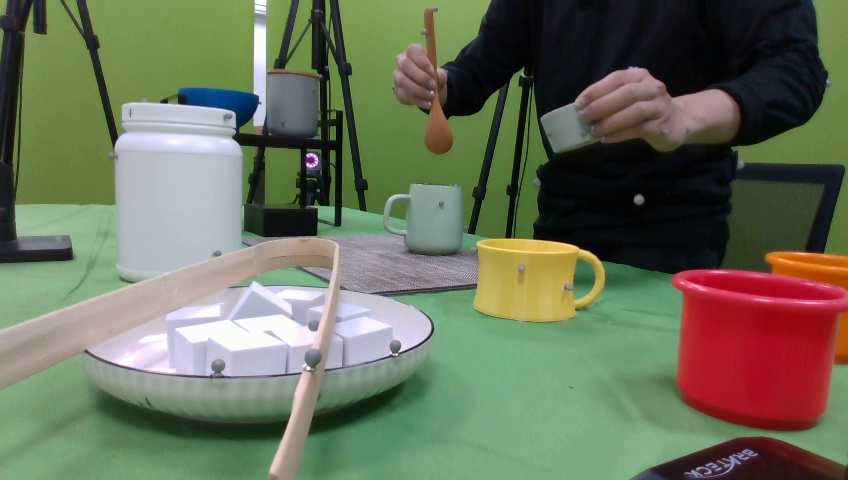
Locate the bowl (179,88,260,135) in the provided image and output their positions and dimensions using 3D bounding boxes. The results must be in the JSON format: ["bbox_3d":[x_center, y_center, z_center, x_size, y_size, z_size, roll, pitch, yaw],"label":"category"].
[{"bbox_3d":[-0.400,-0.248,1.188,0.151,0.077,0.151,2,6,0],"label":"bowl"}]

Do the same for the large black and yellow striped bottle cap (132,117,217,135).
[{"bbox_3d":[-0.359,-0.164,0.875,0.115,0.019,0.115,2,6,0],"label":"large black and yellow striped bottle cap"}]

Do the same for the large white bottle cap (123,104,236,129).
[{"bbox_3d":[-0.266,-0.135,0.663,0.115,0.018,0.115,3,7,0],"label":"large white bottle cap"}]

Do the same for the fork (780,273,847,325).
[{"bbox_3d":[0.332,0.018,0.443,0.028,0.018,0.207,-4,-35,-16],"label":"fork"}]

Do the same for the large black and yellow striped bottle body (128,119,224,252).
[{"bbox_3d":[-0.361,-0.081,0.887,0.131,0.184,0.130,2,8,0],"label":"large black and yellow striped bottle body"}]

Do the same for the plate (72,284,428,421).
[{"bbox_3d":[-0.102,0.067,0.381,0.208,0.039,0.207,3,7,0],"label":"plate"}]

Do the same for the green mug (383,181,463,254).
[{"bbox_3d":[-0.001,-0.036,0.922,0.126,0.105,0.092,0,8,-16],"label":"green mug"}]

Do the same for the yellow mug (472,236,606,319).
[{"bbox_3d":[0.114,0.034,0.589,0.131,0.064,0.100,3,6,-7],"label":"yellow mug"}]

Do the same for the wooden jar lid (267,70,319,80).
[{"bbox_3d":[-0.275,-0.340,1.271,0.108,0.020,0.108,5,6,0],"label":"wooden jar lid"}]

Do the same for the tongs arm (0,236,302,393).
[{"bbox_3d":[-0.157,0.038,0.347,0.028,0.028,0.388,-3,8,11],"label":"tongs arm"}]

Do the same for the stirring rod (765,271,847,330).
[{"bbox_3d":[0.352,0.020,0.481,0.176,0.006,0.014,-40,-8,17],"label":"stirring rod"}]

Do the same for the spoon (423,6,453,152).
[{"bbox_3d":[0.012,-0.211,0.813,0.041,0.194,0.021,-2,20,11],"label":"spoon"}]

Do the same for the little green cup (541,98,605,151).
[{"bbox_3d":[0.153,-0.116,0.611,0.061,0.038,0.061,-15,1,1],"label":"little green cup"}]

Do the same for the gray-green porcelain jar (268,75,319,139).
[{"bbox_3d":[-0.277,-0.279,1.280,0.106,0.126,0.106,2,8,0],"label":"gray-green porcelain jar"}]

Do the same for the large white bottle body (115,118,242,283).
[{"bbox_3d":[-0.270,-0.051,0.673,0.131,0.184,0.130,2,8,0],"label":"large white bottle body"}]

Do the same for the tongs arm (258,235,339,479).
[{"bbox_3d":[-0.074,0.040,0.345,0.051,0.026,0.384,-2,10,-3],"label":"tongs arm"}]
